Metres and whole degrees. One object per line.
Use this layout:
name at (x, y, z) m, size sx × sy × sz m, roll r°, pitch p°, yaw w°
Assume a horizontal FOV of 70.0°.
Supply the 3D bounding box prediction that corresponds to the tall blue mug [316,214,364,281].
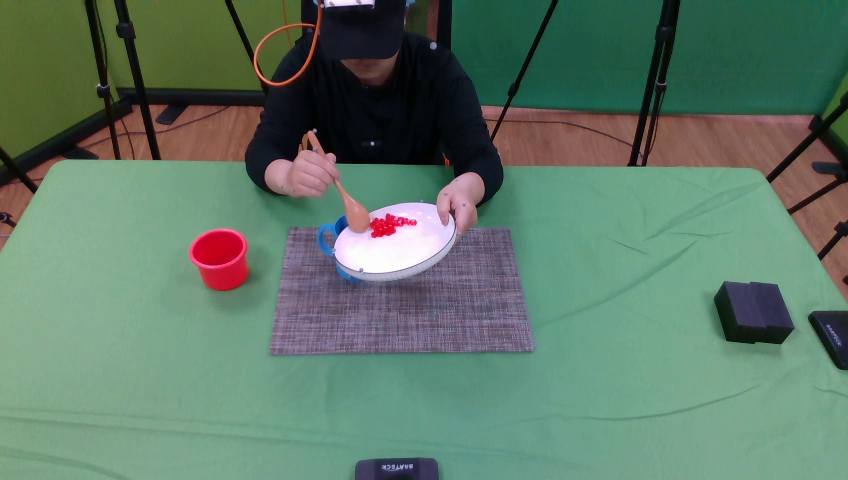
tall blue mug at (-0.142, 0.014, 1.109) m, size 0.107 × 0.108 × 0.077 m, roll -4°, pitch 48°, yaw -9°

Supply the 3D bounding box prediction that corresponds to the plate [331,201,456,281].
plate at (-0.048, 0.005, 0.999) m, size 0.207 × 0.039 × 0.206 m, roll -10°, pitch 33°, yaw 6°

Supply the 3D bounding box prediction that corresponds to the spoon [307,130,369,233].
spoon at (-0.149, -0.098, 1.031) m, size 0.041 × 0.194 × 0.021 m, roll -33°, pitch 11°, yaw -16°
